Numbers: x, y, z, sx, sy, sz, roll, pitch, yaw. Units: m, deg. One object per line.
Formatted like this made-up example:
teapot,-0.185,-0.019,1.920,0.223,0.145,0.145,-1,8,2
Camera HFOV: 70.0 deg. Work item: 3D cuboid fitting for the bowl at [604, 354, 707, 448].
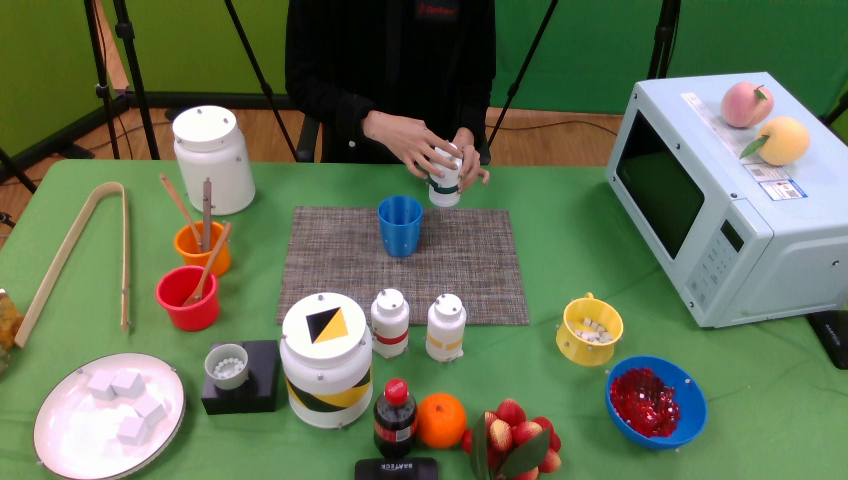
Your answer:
bowl,0.346,0.261,0.937,0.151,0.077,0.150,2,46,-2

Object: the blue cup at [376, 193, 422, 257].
blue cup,-0.047,-0.022,1.155,0.093,0.101,0.092,1,47,-1

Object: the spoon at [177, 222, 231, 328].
spoon,-0.369,0.059,1.027,0.041,0.022,0.193,25,94,19

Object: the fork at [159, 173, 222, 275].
fork,-0.427,-0.029,1.103,0.028,0.018,0.207,-31,99,-30

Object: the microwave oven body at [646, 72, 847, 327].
microwave oven body,0.607,-0.090,1.164,0.326,0.261,0.438,-7,46,-10

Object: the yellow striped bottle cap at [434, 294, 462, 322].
yellow striped bottle cap,0.038,0.107,0.958,0.044,0.019,0.044,2,45,-2

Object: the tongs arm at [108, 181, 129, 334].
tongs arm,-0.571,0.019,1.123,0.051,0.026,0.382,-11,47,-11

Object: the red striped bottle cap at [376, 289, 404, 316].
red striped bottle cap,-0.055,0.098,0.958,0.044,0.018,0.044,0,48,0

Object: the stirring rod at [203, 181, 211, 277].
stirring rod,-0.396,-0.021,1.108,0.014,0.006,0.176,-1,89,-2

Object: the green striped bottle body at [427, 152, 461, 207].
green striped bottle body,0.038,-0.126,1.157,0.063,0.120,0.063,1,47,-1

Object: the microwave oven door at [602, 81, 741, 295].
microwave oven door,0.456,-0.107,1.162,0.039,0.245,0.353,-7,47,-11

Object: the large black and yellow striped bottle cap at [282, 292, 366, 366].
large black and yellow striped bottle cap,-0.138,0.121,0.841,0.115,0.019,0.114,3,47,-3

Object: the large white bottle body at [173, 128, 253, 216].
large white bottle body,-0.416,-0.154,1.199,0.131,0.185,0.130,2,46,-2

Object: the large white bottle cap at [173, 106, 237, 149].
large white bottle cap,-0.411,-0.212,1.138,0.115,0.018,0.114,2,47,-2

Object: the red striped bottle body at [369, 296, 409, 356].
red striped bottle body,-0.059,0.134,0.997,0.063,0.120,0.062,5,48,-5

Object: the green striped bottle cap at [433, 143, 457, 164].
green striped bottle cap,0.039,-0.160,1.117,0.044,0.020,0.044,0,47,0

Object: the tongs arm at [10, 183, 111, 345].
tongs arm,-0.658,0.027,1.109,0.028,0.028,0.385,-2,45,2

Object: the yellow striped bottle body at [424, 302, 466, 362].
yellow striped bottle body,0.035,0.143,0.995,0.063,0.121,0.062,3,46,-2

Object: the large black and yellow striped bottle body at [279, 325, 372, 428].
large black and yellow striped bottle body,-0.143,0.181,0.900,0.131,0.185,0.130,2,46,-2

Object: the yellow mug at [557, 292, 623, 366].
yellow mug,0.285,0.145,1.051,0.100,0.064,0.130,7,45,4

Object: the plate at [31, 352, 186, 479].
plate,-0.459,0.262,0.898,0.209,0.038,0.208,2,46,-2

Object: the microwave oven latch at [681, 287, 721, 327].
microwave oven latch,0.494,0.119,1.087,0.030,0.029,0.078,-6,46,-9

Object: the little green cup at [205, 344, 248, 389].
little green cup,-0.293,0.191,0.909,0.061,0.039,0.061,1,47,-1
